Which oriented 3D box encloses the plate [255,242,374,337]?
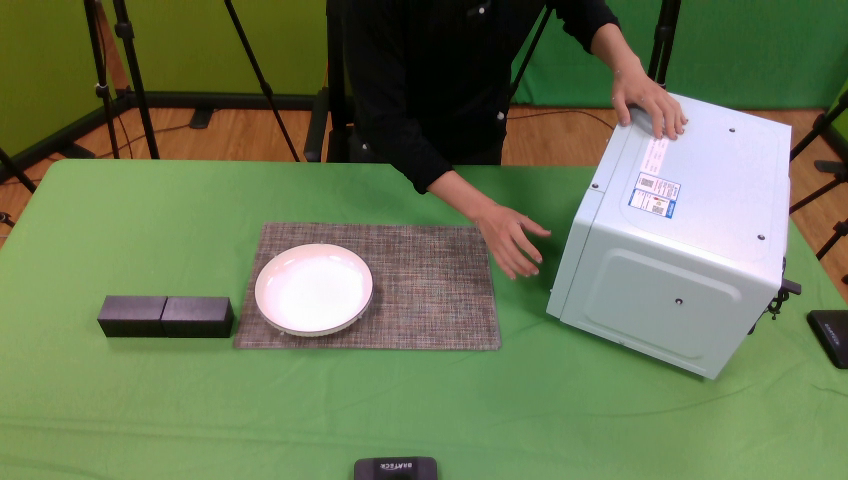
[{"bbox_3d":[-0.192,0.090,1.079,0.208,0.039,0.206,2,46,-2],"label":"plate"}]

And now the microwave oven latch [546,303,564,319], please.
[{"bbox_3d":[0.242,0.102,1.081,0.030,0.029,0.079,22,48,17],"label":"microwave oven latch"}]

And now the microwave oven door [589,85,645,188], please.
[{"bbox_3d":[0.342,-0.107,1.149,0.039,0.245,0.354,20,48,15],"label":"microwave oven door"}]

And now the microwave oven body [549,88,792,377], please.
[{"bbox_3d":[0.456,-0.028,1.088,0.325,0.261,0.440,20,47,16],"label":"microwave oven body"}]
